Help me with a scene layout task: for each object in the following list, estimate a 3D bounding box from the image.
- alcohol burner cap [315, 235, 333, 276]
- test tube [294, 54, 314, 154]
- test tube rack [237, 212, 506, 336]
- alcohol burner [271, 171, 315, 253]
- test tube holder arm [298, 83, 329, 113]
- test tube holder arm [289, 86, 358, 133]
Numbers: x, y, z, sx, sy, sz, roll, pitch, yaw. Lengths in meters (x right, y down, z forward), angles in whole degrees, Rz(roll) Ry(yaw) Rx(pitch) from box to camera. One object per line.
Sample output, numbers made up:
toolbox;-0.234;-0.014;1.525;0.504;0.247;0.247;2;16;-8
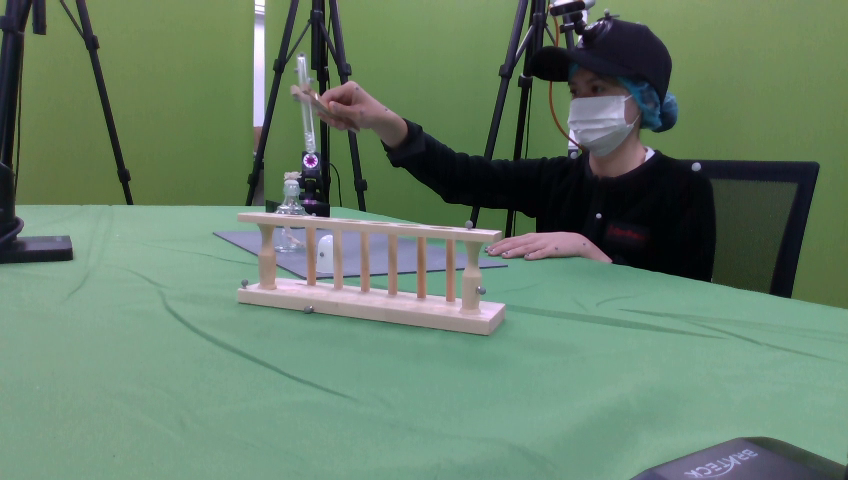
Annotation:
alcohol burner cap;-0.116;0.018;0.728;0.034;0.048;0.034;3;6;0
test tube;-0.173;-0.196;0.873;0.017;0.150;0.017;-7;-9;-1
test tube rack;-0.049;0.024;0.552;0.242;0.085;0.067;5;8;18
alcohol burner;-0.196;-0.041;0.884;0.078;0.119;0.078;3;5;0
test tube holder arm;-0.163;-0.208;0.896;0.010;0.015;0.088;-9;-12;14
test tube holder arm;-0.152;-0.200;0.940;0.013;0.015;0.179;-11;-12;22
